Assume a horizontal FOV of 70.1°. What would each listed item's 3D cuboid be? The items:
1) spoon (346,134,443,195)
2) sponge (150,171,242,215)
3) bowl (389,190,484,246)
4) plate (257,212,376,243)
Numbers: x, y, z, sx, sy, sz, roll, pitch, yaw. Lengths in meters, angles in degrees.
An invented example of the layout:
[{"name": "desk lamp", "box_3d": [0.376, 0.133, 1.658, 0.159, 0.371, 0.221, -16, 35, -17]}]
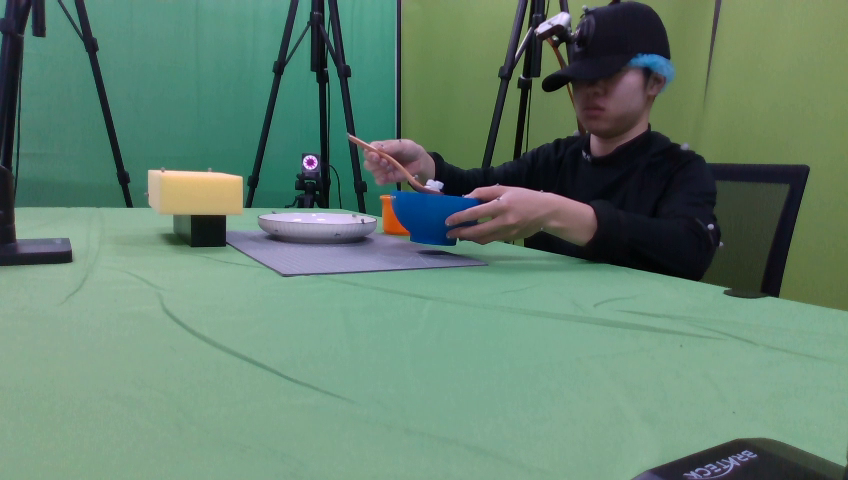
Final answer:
[{"name": "spoon", "box_3d": [-0.051, -0.123, 0.983, 0.193, 0.021, 0.042, 37, 8, 15]}, {"name": "sponge", "box_3d": [-0.379, -0.079, 0.994, 0.119, 0.061, 0.206, -1, 8, -29]}, {"name": "bowl", "box_3d": [0.015, -0.033, 0.946, 0.151, 0.077, 0.151, 6, 5, 0]}, {"name": "plate", "box_3d": [-0.189, -0.023, 1.072, 0.209, 0.038, 0.209, 3, 7, 0]}]
